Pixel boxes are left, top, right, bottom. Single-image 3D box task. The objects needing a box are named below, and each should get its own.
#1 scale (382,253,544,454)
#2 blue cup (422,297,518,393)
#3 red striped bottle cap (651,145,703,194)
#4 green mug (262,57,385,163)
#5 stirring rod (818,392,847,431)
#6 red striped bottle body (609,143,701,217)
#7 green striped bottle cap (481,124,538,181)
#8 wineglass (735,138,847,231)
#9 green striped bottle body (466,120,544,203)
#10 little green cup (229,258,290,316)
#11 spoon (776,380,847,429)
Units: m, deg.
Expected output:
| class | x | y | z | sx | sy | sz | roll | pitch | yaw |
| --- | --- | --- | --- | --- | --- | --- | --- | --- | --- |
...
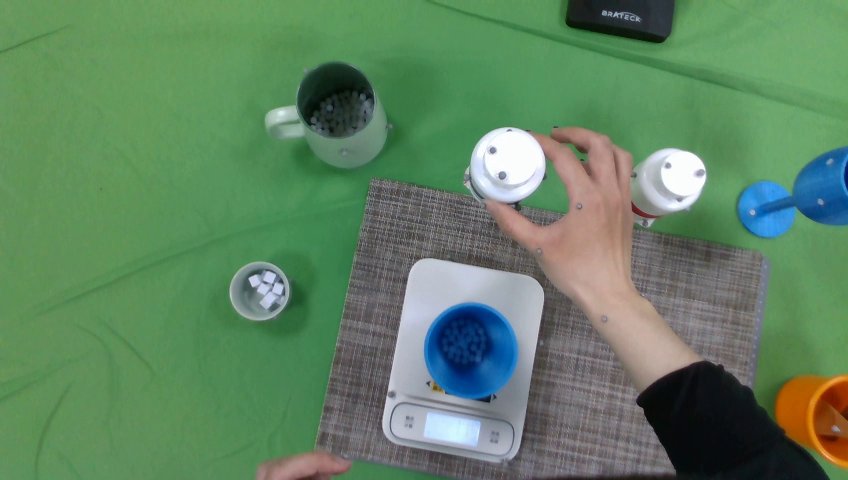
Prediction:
| class | x | y | z | sx | sy | sz | roll | pitch | yaw |
| --- | --- | --- | --- | --- | --- | --- | --- | --- | --- |
| scale | 0.042 | 0.121 | 0.647 | 0.149 | 0.031 | 0.200 | 10 | 85 | 0 |
| blue cup | 0.040 | 0.095 | 0.584 | 0.093 | 0.100 | 0.092 | 0 | 88 | -1 |
| red striped bottle cap | 0.240 | -0.067 | 0.573 | 0.044 | 0.018 | 0.044 | 0 | 84 | -1 |
| green mug | -0.104 | -0.130 | 0.631 | 0.125 | 0.105 | 0.092 | -11 | 86 | -2 |
| stirring rod | 0.441 | 0.140 | 0.600 | 0.014 | 0.177 | 0.006 | 18 | 44 | 13 |
| red striped bottle body | 0.240 | -0.062 | 0.626 | 0.063 | 0.120 | 0.063 | 0 | 85 | -1 |
| green striped bottle cap | 0.068 | -0.070 | 0.482 | 0.044 | 0.020 | 0.044 | 0 | 89 | 2 |
| wineglass | 0.385 | -0.051 | 0.602 | 0.074 | 0.172 | 0.073 | 0 | 84 | 0 |
| green striped bottle body | 0.070 | -0.068 | 0.538 | 0.063 | 0.119 | 0.063 | 0 | 89 | 2 |
| little green cup | -0.173 | 0.050 | 0.647 | 0.061 | 0.038 | 0.061 | 0 | 85 | -3 |
| spoon | 0.450 | 0.195 | 0.596 | 0.022 | 0.192 | 0.041 | 23 | 92 | -42 |
